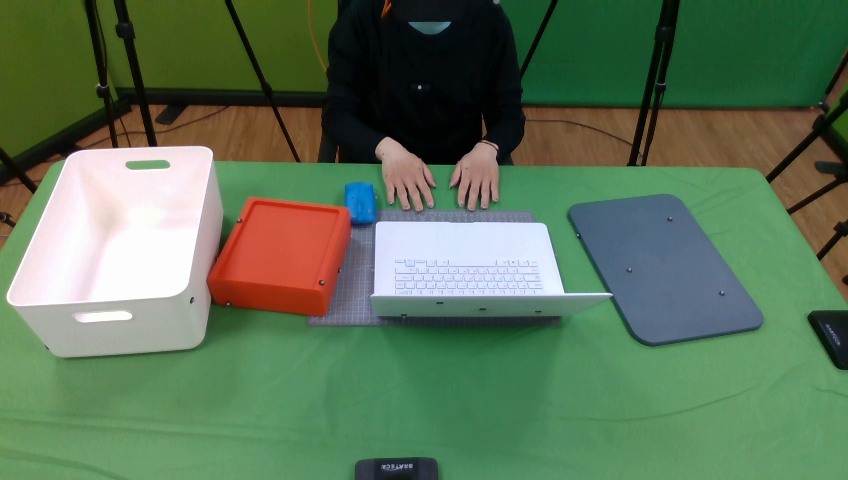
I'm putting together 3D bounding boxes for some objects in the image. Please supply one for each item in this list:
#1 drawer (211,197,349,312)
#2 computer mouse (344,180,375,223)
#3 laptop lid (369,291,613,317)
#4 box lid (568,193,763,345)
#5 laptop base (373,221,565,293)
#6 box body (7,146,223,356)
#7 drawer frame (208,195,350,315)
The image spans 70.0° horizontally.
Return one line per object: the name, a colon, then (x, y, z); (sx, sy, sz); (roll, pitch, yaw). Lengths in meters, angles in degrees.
drawer: (-0.255, 0.022, 1.114); (0.194, 0.073, 0.210); (7, 47, 3)
computer mouse: (-0.135, -0.083, 1.253); (0.063, 0.041, 0.116); (0, 47, -7)
laptop lid: (0.092, 0.104, 0.965); (0.357, 0.242, 0.013); (0, 76, -5)
box lid: (0.465, 0.040, 1.203); (0.264, 0.015, 0.369); (-7, 47, -11)
laptop base: (0.080, 0.049, 1.159); (0.355, 0.023, 0.234); (0, 43, -4)
box body: (-0.499, 0.013, 1.051); (0.254, 0.161, 0.361); (-3, 47, -7)
drawer frame: (-0.255, 0.023, 1.112); (0.202, 0.083, 0.212); (6, 47, 3)
